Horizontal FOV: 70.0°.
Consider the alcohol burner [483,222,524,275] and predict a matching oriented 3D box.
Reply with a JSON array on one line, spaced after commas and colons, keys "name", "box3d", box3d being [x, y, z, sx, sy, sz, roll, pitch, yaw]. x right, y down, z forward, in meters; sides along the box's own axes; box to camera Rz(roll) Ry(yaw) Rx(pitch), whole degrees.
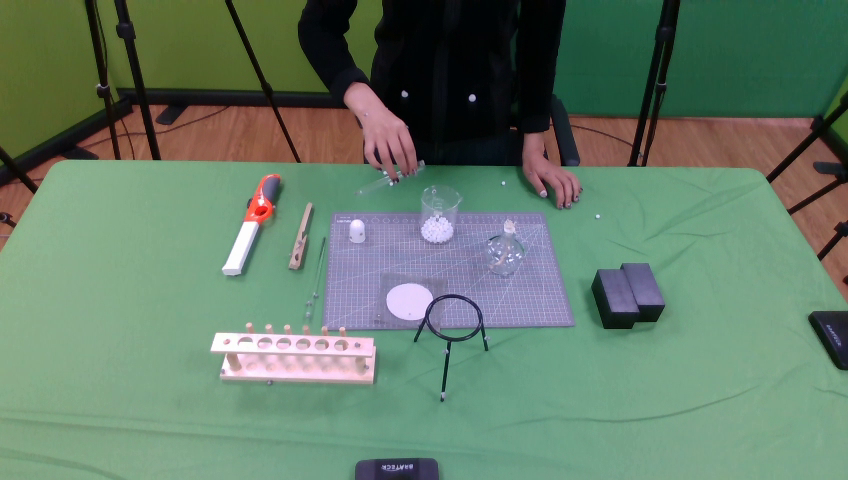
[{"name": "alcohol burner", "box3d": [0.152, 0.010, 1.135, 0.078, 0.119, 0.077, 4, 47, -4]}]

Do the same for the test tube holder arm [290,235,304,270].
[{"name": "test tube holder arm", "box3d": [-0.243, 0.021, 1.164, 0.010, 0.015, 0.087, 30, 39, -26]}]

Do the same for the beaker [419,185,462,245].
[{"name": "beaker", "box3d": [0.029, -0.047, 1.191, 0.084, 0.101, 0.073, -5, 47, -10]}]

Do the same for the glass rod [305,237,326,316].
[{"name": "glass rod", "box3d": [-0.202, 0.064, 1.131, 0.008, 0.008, 0.198, 4, 43, 0]}]

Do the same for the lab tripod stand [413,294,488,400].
[{"name": "lab tripod stand", "box3d": [0.044, 0.159, 0.972, 0.148, 0.132, 0.147, 2, 44, -2]}]

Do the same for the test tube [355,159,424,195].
[{"name": "test tube", "box3d": [-0.066, -0.113, 1.105, 0.150, 0.017, 0.017, -20, 39, 26]}]

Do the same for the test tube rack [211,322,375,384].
[{"name": "test tube rack", "box3d": [-0.202, 0.176, 0.969, 0.242, 0.085, 0.066, 3, 46, -2]}]

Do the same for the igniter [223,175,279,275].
[{"name": "igniter", "box3d": [-0.341, -0.039, 1.207, 0.057, 0.025, 0.275, -1, 45, 8]}]

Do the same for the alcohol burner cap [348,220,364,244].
[{"name": "alcohol burner cap", "box3d": [-0.134, -0.019, 1.190, 0.034, 0.048, 0.033, 2, 46, -2]}]

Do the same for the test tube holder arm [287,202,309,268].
[{"name": "test tube holder arm", "box3d": [-0.247, -0.013, 1.193, 0.013, 0.015, 0.177, 29, 39, -26]}]

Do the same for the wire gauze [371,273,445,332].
[{"name": "wire gauze", "box3d": [-0.028, 0.109, 1.100, 0.125, 0.011, 0.121, 7, 45, 4]}]
